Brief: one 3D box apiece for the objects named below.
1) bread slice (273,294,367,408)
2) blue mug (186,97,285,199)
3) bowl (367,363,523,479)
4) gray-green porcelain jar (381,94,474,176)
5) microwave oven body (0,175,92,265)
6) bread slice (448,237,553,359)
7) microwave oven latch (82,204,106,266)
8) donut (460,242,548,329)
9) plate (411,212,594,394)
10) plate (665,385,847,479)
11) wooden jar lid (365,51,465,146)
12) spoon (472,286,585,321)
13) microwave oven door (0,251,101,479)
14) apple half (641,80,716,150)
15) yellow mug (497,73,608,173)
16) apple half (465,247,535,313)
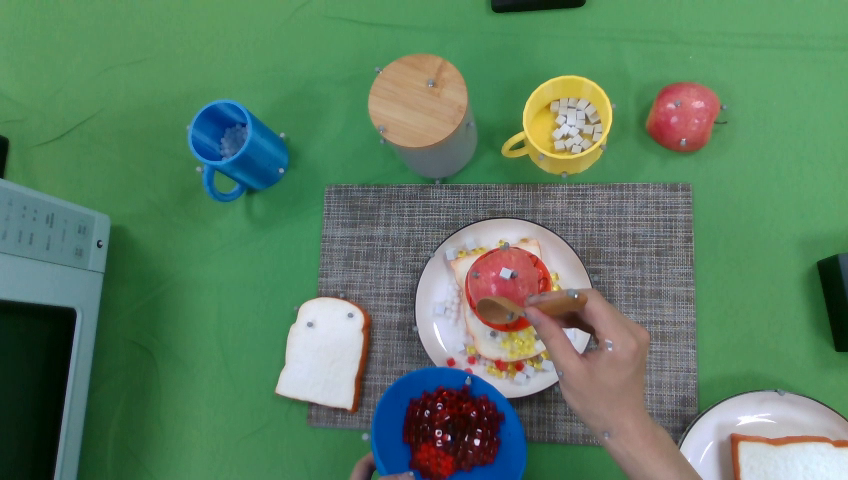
[{"bbox_3d":[-0.126,0.132,0.744,0.104,0.019,0.131,8,83,11],"label":"bread slice"},{"bbox_3d":[-0.241,-0.106,0.763,0.082,0.106,0.116,22,85,14],"label":"blue mug"},{"bbox_3d":[0.014,0.206,0.594,0.152,0.077,0.150,9,44,-8],"label":"bowl"},{"bbox_3d":[0.003,-0.138,0.714,0.105,0.127,0.105,-2,79,10],"label":"gray-green porcelain jar"},{"bbox_3d":[-0.614,0.148,0.703,0.325,0.261,0.440,1,81,10],"label":"microwave oven body"},{"bbox_3d":[0.095,0.070,0.706,0.107,0.018,0.133,-16,76,8],"label":"bread slice"},{"bbox_3d":[-0.443,-0.007,0.798,0.030,0.029,0.079,5,82,11],"label":"microwave oven latch"},{"bbox_3d":[0.090,0.051,0.679,0.099,0.048,0.098,-2,81,11],"label":"donut"},{"bbox_3d":[0.089,0.072,0.704,0.207,0.039,0.207,-2,80,10],"label":"plate"},{"bbox_3d":[0.356,0.255,0.626,0.209,0.038,0.208,-2,80,11],"label":"plate"},{"bbox_3d":[-0.009,-0.150,0.653,0.108,0.021,0.108,-2,78,8],"label":"wooden jar lid"},{"bbox_3d":[0.088,0.057,0.528,0.042,0.193,0.021,36,75,-8],"label":"spoon"},{"bbox_3d":[-0.474,0.191,0.665,0.039,0.245,0.354,1,80,11],"label":"microwave oven door"},{"bbox_3d":[0.296,-0.151,0.701,0.074,0.053,0.080,23,85,16],"label":"apple half"},{"bbox_3d":[0.149,-0.131,0.718,0.131,0.064,0.099,-22,77,7],"label":"yellow mug"},{"bbox_3d":[0.080,0.044,0.644,0.081,0.033,0.081,-4,75,17],"label":"apple half"}]
